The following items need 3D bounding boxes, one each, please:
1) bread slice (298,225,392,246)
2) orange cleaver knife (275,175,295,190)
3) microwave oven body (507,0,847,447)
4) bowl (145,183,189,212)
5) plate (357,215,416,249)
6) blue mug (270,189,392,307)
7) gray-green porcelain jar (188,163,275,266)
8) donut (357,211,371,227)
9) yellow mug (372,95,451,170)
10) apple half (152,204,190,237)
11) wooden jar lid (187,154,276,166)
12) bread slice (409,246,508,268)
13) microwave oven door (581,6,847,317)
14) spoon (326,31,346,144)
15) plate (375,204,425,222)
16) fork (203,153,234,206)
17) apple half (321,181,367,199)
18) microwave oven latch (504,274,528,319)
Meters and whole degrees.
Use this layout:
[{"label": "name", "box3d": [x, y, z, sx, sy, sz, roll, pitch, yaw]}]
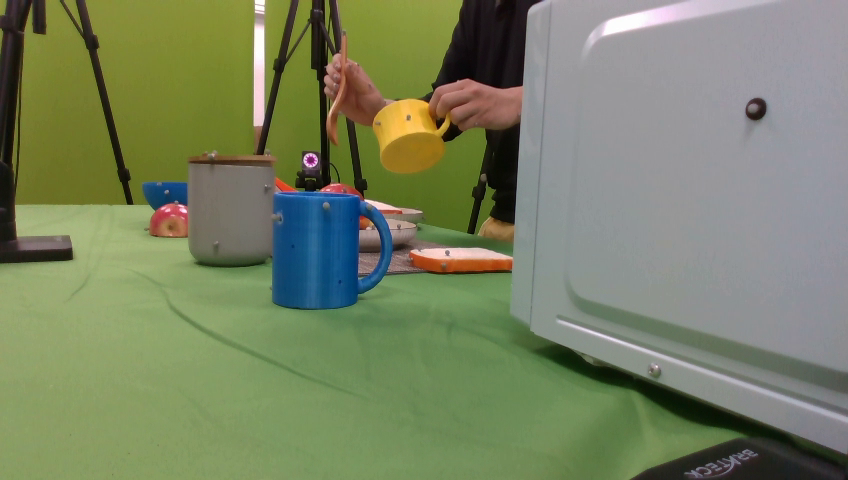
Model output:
[{"label": "bread slice", "box3d": [-0.120, -0.009, 0.969, 0.106, 0.018, 0.135, 5, 10, 41]}, {"label": "orange cleaver knife", "box3d": [-0.283, -0.087, 1.343, 0.212, 0.077, 0.012, 24, -17, -41]}, {"label": "microwave oven body", "box3d": [0.331, -0.042, 0.425, 0.444, 0.260, 0.324, -2, 8, -31]}, {"label": "bowl", "box3d": [-0.459, -0.069, 1.175, 0.151, 0.077, 0.151, 3, 7, 0]}, {"label": "plate", "box3d": [-0.116, -0.014, 0.967, 0.208, 0.039, 0.207, 2, 7, 0]}, {"label": "blue mug", "box3d": [-0.090, 0.005, 0.588, 0.117, 0.106, 0.082, 1, 7, -11]}, {"label": "gray-green porcelain jar", "box3d": [-0.246, -0.034, 0.779, 0.106, 0.126, 0.106, 1, 7, 0]}, {"label": "donut", "box3d": [-0.132, -0.041, 0.959, 0.099, 0.048, 0.099, 3, 7, 0]}, {"label": "yellow mug", "box3d": [-0.012, -0.168, 0.910, 0.130, 0.064, 0.100, -29, -30, 27]}, {"label": "apple half", "box3d": [-0.415, -0.034, 1.017, 0.081, 0.053, 0.074, 1, 10, -8]}, {"label": "wooden jar lid", "box3d": [-0.244, -0.097, 0.771, 0.108, 0.020, 0.108, -1, 7, 0]}, {"label": "bread slice", "box3d": [0.048, 0.022, 0.816, 0.132, 0.019, 0.104, 0, 6, -24]}, {"label": "microwave oven door", "box3d": [0.295, -0.067, 0.570, 0.358, 0.243, 0.039, -3, 8, -31]}, {"label": "spoon", "box3d": [-0.137, -0.246, 0.971, 0.021, 0.193, 0.042, 5, -12, 8]}, {"label": "plate", "box3d": [-0.102, -0.053, 1.299, 0.209, 0.038, 0.209, 2, 8, 0]}, {"label": "fork", "box3d": [-0.480, -0.136, 1.411, 0.028, 0.018, 0.207, 0, -34, -1]}, {"label": "apple half", "box3d": [-0.129, -0.077, 0.952, 0.081, 0.033, 0.081, 1, 15, 0]}, {"label": "microwave oven latch", "box3d": [0.100, 0.041, 0.471, 0.079, 0.029, 0.030, -1, 7, -27]}]
